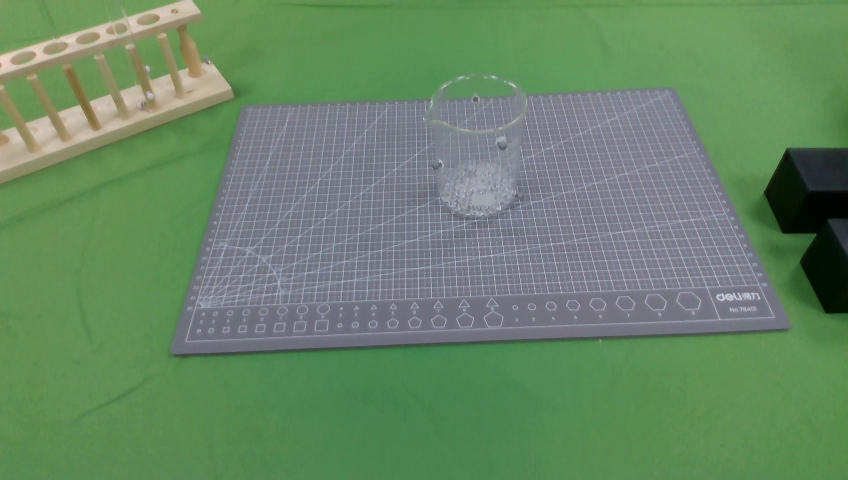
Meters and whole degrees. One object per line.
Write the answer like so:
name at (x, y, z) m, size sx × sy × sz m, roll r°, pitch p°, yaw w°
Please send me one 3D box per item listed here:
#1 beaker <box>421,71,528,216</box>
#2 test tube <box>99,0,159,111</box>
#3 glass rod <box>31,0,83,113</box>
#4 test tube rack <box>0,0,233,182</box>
beaker at (0.040, -0.075, 0.499) m, size 0.084 × 0.101 × 0.073 m, roll -16°, pitch 50°, yaw -10°
test tube at (-0.278, -0.186, 0.562) m, size 0.017 × 0.151 × 0.017 m, roll 0°, pitch 46°, yaw 1°
glass rod at (-0.349, -0.205, 0.552) m, size 0.008 × 0.201 × 0.008 m, roll -1°, pitch 41°, yaw 1°
test tube rack at (-0.324, -0.149, 0.591) m, size 0.242 × 0.086 × 0.066 m, roll -27°, pitch 53°, yaw -20°
